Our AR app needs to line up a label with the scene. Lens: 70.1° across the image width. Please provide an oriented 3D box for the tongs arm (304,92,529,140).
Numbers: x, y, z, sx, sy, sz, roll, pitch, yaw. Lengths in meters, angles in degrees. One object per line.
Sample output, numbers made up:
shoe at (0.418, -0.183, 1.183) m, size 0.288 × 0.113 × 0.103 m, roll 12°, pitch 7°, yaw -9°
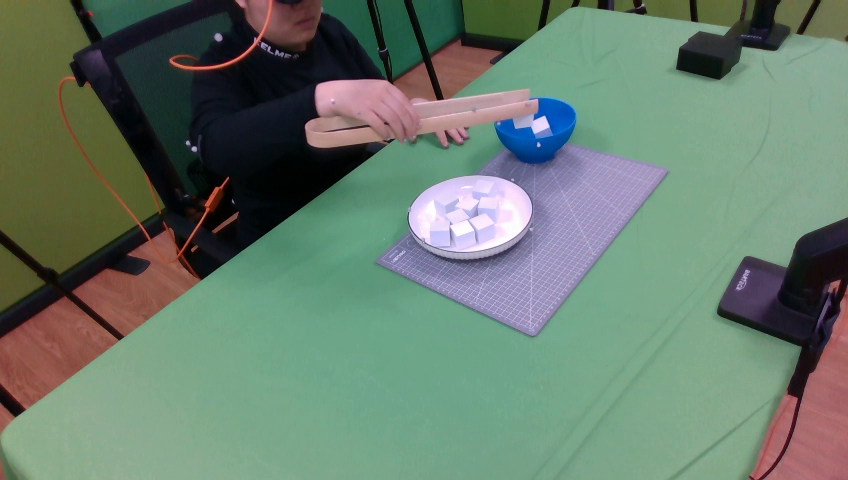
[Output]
tongs arm at (-0.004, -0.207, 0.994) m, size 0.389 × 0.028 × 0.028 m, roll -11°, pitch 42°, yaw -14°

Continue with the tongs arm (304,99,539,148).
tongs arm at (0.003, -0.193, 0.975) m, size 0.386 × 0.026 × 0.050 m, roll -13°, pitch 39°, yaw -17°

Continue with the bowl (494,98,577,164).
bowl at (0.207, -0.196, 1.128) m, size 0.151 × 0.077 × 0.150 m, roll -5°, pitch 40°, yaw 5°

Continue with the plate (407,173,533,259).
plate at (0.076, -0.037, 0.997) m, size 0.207 × 0.039 × 0.206 m, roll -5°, pitch 40°, yaw 5°
